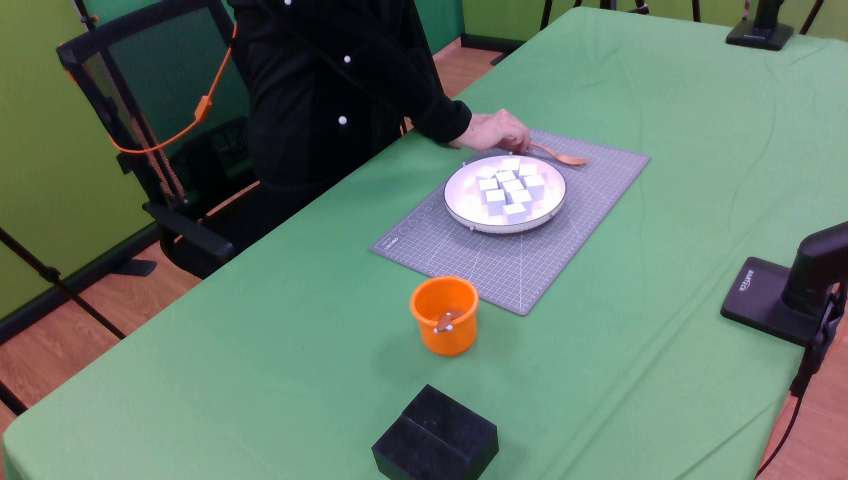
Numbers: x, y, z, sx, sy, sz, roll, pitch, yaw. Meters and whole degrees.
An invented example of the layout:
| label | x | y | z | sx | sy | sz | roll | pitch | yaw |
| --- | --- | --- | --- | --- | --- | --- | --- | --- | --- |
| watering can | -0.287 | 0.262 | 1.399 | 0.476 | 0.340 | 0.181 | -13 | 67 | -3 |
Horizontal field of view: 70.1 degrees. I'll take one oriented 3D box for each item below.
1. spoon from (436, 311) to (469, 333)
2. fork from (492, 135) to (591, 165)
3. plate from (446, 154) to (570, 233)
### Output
| label | x | y | z | sx | sy | sz | roll | pitch | yaw |
| --- | --- | --- | --- | --- | --- | --- | --- | --- | --- |
| spoon | 0.030 | 0.102 | 0.761 | 0.041 | 0.194 | 0.021 | 2 | 85 | 8 |
| fork | 0.217 | -0.173 | 1.144 | 0.206 | 0.019 | 0.028 | 25 | 44 | 29 |
| plate | 0.142 | -0.076 | 1.033 | 0.207 | 0.039 | 0.206 | -5 | 40 | 5 |
